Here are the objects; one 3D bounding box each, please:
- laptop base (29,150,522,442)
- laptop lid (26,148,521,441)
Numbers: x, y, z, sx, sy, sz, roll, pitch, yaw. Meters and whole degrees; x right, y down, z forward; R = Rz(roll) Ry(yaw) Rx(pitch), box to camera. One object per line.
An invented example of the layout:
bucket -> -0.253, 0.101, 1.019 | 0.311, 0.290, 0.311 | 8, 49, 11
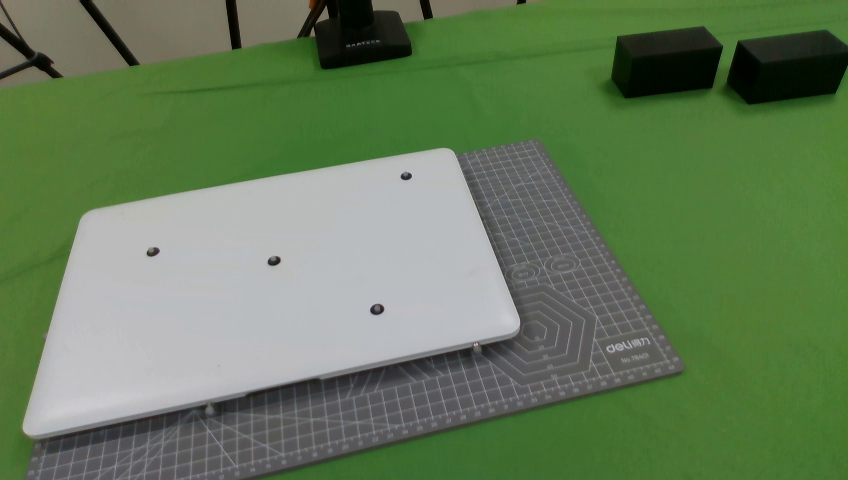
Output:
laptop base -> -0.120, 0.029, 0.509 | 0.355, 0.023, 0.233 | -11, 48, -6
laptop lid -> -0.121, 0.022, 0.499 | 0.357, 0.013, 0.239 | -10, 46, -4
